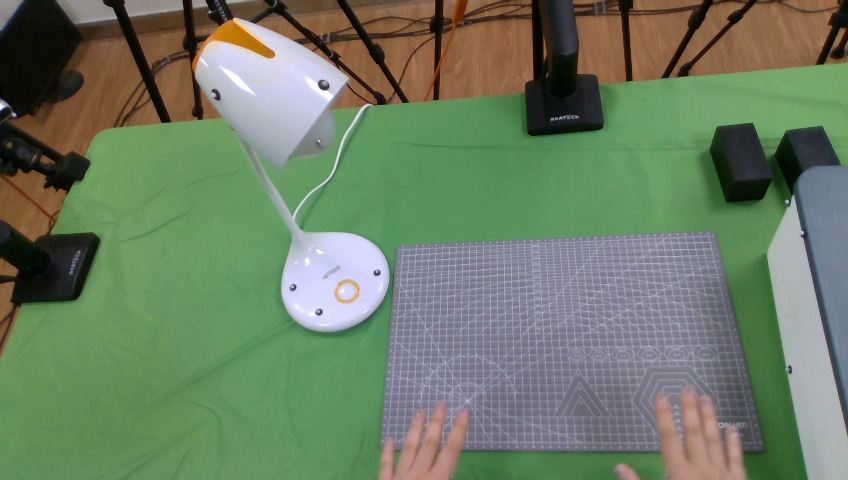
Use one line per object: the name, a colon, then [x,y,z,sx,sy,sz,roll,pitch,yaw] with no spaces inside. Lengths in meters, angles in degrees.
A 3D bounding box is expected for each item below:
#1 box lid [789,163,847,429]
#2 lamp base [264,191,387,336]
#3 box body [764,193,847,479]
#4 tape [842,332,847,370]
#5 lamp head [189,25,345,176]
box lid: [0.526,0.069,0.584,0.263,0.015,0.368,0,59,11]
lamp base: [-0.154,0.019,0.822,0.177,0.182,0.160,33,69,30]
box body: [0.537,0.110,0.644,0.253,0.162,0.361,0,58,11]
tape: [0.549,0.127,0.691,0.117,0.053,0.116,-4,58,7]
lamp head: [-0.153,-0.136,0.566,0.123,0.112,0.112,34,66,-9]
